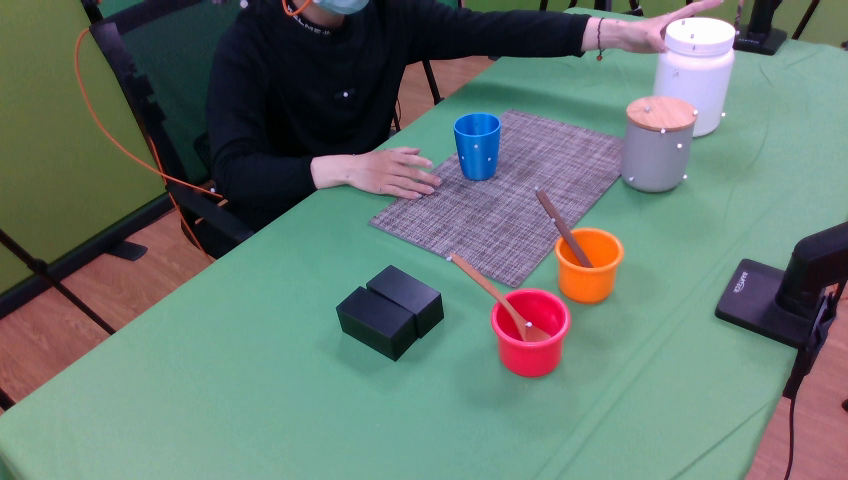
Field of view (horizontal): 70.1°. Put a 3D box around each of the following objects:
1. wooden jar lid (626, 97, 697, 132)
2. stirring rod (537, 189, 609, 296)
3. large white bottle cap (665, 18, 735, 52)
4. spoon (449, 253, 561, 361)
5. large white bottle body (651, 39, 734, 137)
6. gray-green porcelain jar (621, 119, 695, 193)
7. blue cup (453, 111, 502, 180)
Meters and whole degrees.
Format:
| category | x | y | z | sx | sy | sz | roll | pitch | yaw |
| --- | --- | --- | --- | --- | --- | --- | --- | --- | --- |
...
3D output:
| category | x | y | z | sx | sy | sz | roll | pitch | yaw |
| --- | --- | --- | --- | --- | --- | --- | --- | --- | --- |
| wooden jar lid | 0.382 | -0.198 | 0.976 | 0.108 | 0.021 | 0.108 | -3 | 40 | 3 |
| stirring rod | 0.210 | 0.003 | 0.855 | 0.014 | 0.006 | 0.176 | -32 | 89 | -31 |
| large white bottle cap | 0.488 | -0.364 | 1.071 | 0.115 | 0.018 | 0.114 | -4 | 41 | 4 |
| spoon | 0.103 | 0.083 | 0.770 | 0.194 | 0.021 | 0.042 | 47 | 52 | -7 |
| large white bottle body | 0.496 | -0.300 | 1.125 | 0.130 | 0.185 | 0.130 | -4 | 41 | 4 |
| gray-green porcelain jar | 0.389 | -0.152 | 1.016 | 0.106 | 0.127 | 0.105 | -4 | 40 | 4 |
| blue cup | 0.097 | -0.166 | 1.088 | 0.092 | 0.100 | 0.092 | -3 | 40 | 3 |
